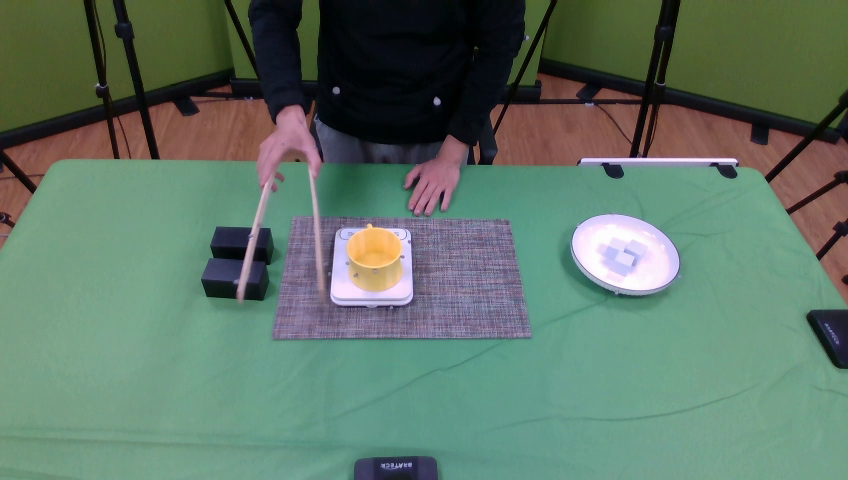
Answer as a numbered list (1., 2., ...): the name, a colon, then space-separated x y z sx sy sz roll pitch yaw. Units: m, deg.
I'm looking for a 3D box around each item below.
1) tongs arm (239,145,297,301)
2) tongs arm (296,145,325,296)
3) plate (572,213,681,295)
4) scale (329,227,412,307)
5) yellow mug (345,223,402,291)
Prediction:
1. tongs arm: -0.246 -0.045 0.987 0.051 0.026 0.382 -3 40 -4
2. tongs arm: -0.185 -0.048 0.994 0.028 0.028 0.385 -11 41 -7
3. plate: 0.392 0.030 1.189 0.208 0.039 0.206 2 46 -2
4. scale: -0.099 0.042 1.139 0.149 0.032 0.199 1 46 -4
5. yellow mug: -0.092 0.022 1.093 0.100 0.064 0.130 -8 46 -10
